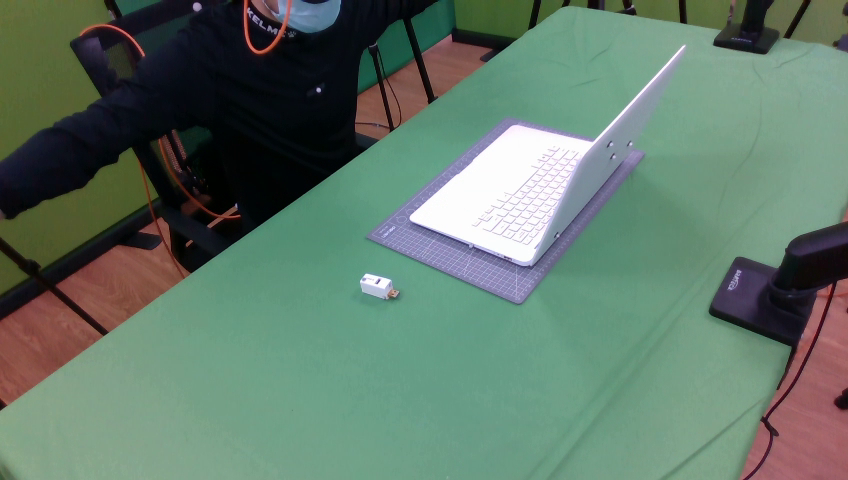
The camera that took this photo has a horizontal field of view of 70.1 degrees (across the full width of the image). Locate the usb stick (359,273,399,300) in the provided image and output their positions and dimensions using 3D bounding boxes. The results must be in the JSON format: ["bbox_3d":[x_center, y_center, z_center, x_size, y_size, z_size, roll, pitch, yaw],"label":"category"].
[{"bbox_3d":[-0.065,0.071,0.892,0.059,0.027,0.021,16,44,21],"label":"usb stick"}]

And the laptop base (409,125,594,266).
[{"bbox_3d":[0.168,-0.093,1.055,0.233,0.023,0.355,20,47,32],"label":"laptop base"}]

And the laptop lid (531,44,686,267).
[{"bbox_3d":[0.279,-0.128,0.906,0.013,0.242,0.357,34,52,17],"label":"laptop lid"}]
